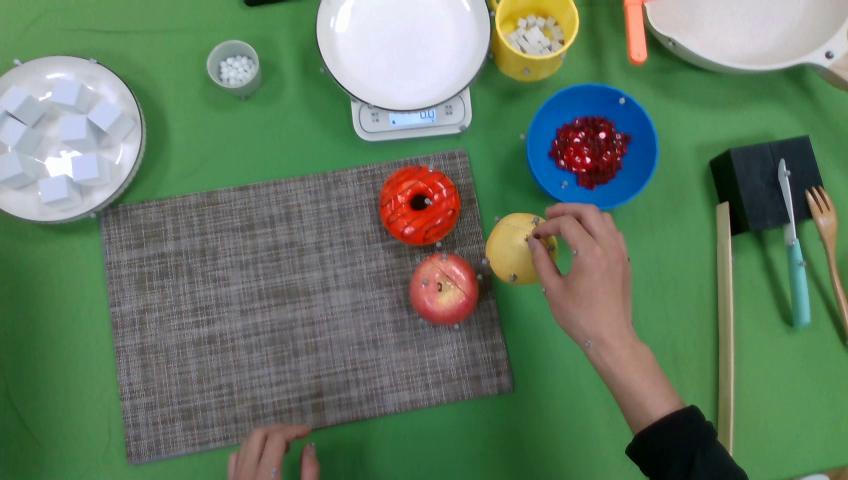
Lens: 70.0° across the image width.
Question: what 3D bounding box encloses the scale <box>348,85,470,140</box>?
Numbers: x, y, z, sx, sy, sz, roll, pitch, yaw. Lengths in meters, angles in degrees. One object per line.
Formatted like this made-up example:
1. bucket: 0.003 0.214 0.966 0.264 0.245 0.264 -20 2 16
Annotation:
1. scale: -0.025 -0.229 0.758 0.149 0.031 0.200 -6 82 -2

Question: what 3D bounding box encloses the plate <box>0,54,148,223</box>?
1. plate: -0.434 -0.119 0.727 0.208 0.039 0.207 0 81 -2

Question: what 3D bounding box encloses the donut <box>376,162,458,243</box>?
1. donut: -0.009 -0.044 0.721 0.099 0.048 0.098 0 82 0

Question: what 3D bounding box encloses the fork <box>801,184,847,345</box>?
1. fork: 0.484 0.034 0.717 0.028 0.018 0.208 -20 98 -6

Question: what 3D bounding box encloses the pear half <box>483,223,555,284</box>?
1. pear half: 0.098 0.016 0.630 0.076 0.110 0.056 20 77 3

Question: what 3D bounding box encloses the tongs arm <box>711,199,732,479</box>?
1. tongs arm: 0.346 0.141 0.718 0.028 0.028 0.386 6 81 -10

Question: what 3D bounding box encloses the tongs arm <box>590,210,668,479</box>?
1. tongs arm: 0.260 0.147 0.709 0.051 0.026 0.383 -10 83 -9

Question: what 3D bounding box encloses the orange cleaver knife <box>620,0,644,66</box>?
1. orange cleaver knife: 0.257 -0.312 0.724 0.077 0.012 0.210 -5 82 0

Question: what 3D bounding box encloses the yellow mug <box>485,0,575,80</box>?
1. yellow mug: 0.120 -0.269 0.751 0.100 0.064 0.130 -42 84 -6

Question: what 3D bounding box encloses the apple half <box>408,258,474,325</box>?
1. apple half: 0.012 0.066 0.690 0.080 0.075 0.053 44 85 3

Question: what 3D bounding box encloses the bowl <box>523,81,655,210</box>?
1. bowl: 0.187 -0.102 0.722 0.151 0.077 0.151 0 82 -1

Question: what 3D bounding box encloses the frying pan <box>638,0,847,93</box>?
1. frying pan: 0.451 -0.263 0.740 0.307 0.103 0.485 -37 76 -5

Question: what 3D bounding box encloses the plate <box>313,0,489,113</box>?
1. plate: -0.026 -0.249 0.728 0.209 0.038 0.208 0 81 -2

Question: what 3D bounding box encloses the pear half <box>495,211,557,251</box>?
1. pear half: 0.112 -0.014 0.647 0.070 0.088 0.031 19 78 2

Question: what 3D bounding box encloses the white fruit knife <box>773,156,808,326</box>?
1. white fruit knife: 0.429 0.004 0.712 0.016 0.027 0.207 -12 96 -3

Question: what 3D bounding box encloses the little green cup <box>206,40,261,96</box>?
1. little green cup: -0.232 -0.209 0.746 0.061 0.039 0.061 0 81 -1

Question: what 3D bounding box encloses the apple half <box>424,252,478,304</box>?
1. apple half: 0.037 0.037 0.694 0.081 0.081 0.033 43 86 5
